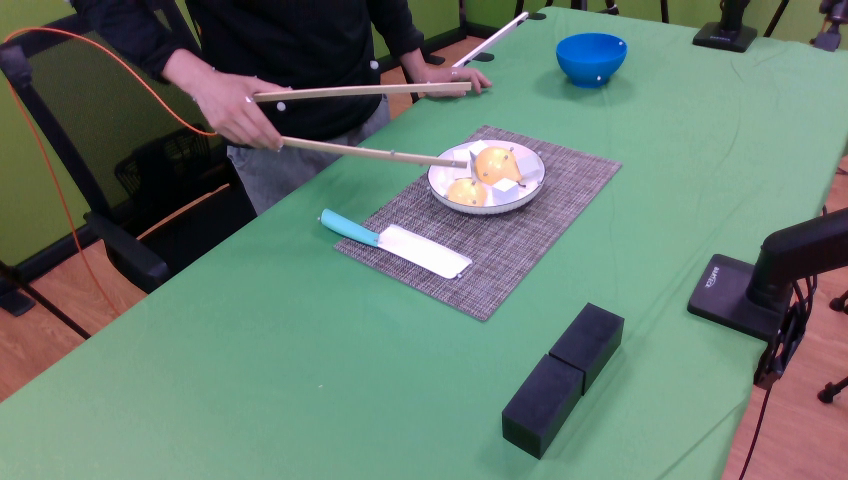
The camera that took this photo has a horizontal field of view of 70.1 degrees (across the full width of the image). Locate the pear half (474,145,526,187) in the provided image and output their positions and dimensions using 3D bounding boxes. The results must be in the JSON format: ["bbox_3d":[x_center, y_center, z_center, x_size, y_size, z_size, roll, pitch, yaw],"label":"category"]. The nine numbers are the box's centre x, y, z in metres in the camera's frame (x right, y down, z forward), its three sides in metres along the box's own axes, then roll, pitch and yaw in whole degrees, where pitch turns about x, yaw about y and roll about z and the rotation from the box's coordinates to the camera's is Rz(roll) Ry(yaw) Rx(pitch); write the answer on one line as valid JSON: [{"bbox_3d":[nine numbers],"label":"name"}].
[{"bbox_3d":[0.140,-0.129,1.059,0.076,0.056,0.109,-37,53,-25],"label":"pear half"}]

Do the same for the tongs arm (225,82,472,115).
[{"bbox_3d":[-0.117,-0.228,0.956,0.388,0.028,0.028,-4,79,0],"label":"tongs arm"}]

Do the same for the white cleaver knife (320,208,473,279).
[{"bbox_3d":[-0.053,0.001,0.978,0.284,0.021,0.066,23,40,26],"label":"white cleaver knife"}]

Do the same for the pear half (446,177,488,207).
[{"bbox_3d":[0.073,-0.086,1.031,0.070,0.031,0.087,-20,36,-10],"label":"pear half"}]

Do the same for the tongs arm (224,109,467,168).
[{"bbox_3d":[-0.122,-0.157,0.937,0.385,0.026,0.050,6,76,3],"label":"tongs arm"}]

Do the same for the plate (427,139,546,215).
[{"bbox_3d":[0.109,-0.106,1.058,0.207,0.039,0.206,-4,40,4],"label":"plate"}]

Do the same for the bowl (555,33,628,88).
[{"bbox_3d":[0.361,-0.384,1.318,0.151,0.077,0.150,-4,41,4],"label":"bowl"}]
